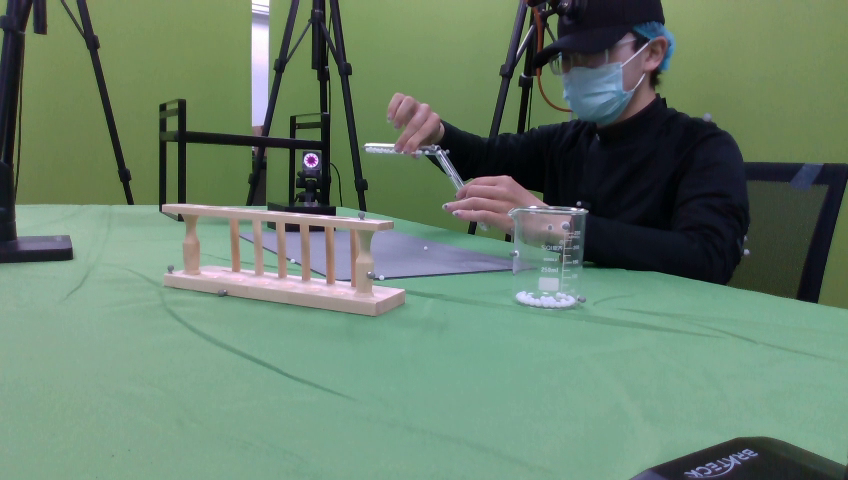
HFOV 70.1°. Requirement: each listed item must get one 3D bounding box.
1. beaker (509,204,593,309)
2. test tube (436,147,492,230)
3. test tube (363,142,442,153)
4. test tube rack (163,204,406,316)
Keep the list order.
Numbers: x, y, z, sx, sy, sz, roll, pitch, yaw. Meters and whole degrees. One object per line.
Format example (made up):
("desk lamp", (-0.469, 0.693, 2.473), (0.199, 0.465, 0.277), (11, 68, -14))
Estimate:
("beaker", (0.125, 0.015, 0.613), (0.084, 0.100, 0.074), (1, 7, -5))
("test tube", (0.060, -0.079, 0.921), (0.017, 0.150, 0.017), (-29, -15, -8))
("test tube", (-0.038, -0.150, 0.978), (0.149, 0.017, 0.017), (7, 9, 32))
("test tube rack", (-0.141, 0.013, 0.601), (0.241, 0.085, 0.067), (5, 8, 21))
